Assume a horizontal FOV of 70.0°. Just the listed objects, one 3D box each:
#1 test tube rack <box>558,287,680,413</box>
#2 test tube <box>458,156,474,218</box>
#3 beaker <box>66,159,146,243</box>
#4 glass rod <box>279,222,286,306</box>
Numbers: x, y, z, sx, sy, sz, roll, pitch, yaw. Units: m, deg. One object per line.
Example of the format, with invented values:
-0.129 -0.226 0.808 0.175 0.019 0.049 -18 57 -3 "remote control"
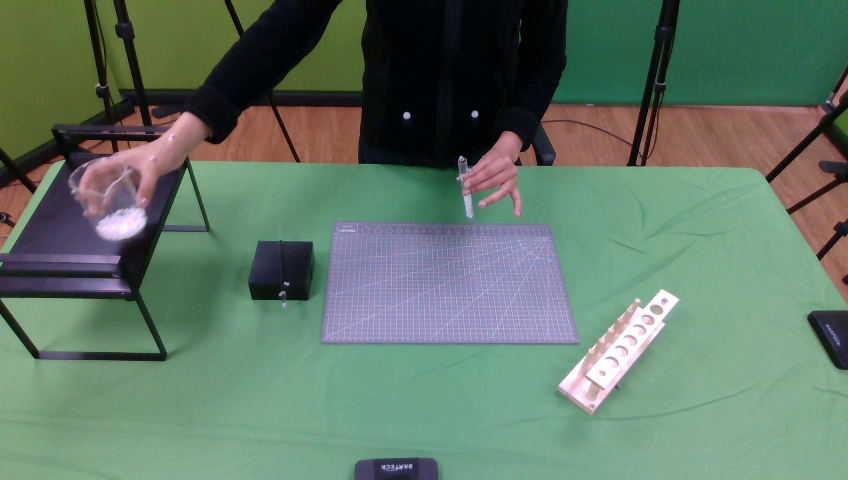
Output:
0.326 0.170 1.009 0.066 0.085 0.242 36 54 26 "test tube rack"
0.075 -0.090 1.072 0.017 0.151 0.017 -5 51 7 "test tube"
-0.440 -0.050 0.851 0.074 0.101 0.083 -23 47 -20 "beaker"
-0.253 0.038 1.080 0.008 0.008 0.198 -6 47 -9 "glass rod"
